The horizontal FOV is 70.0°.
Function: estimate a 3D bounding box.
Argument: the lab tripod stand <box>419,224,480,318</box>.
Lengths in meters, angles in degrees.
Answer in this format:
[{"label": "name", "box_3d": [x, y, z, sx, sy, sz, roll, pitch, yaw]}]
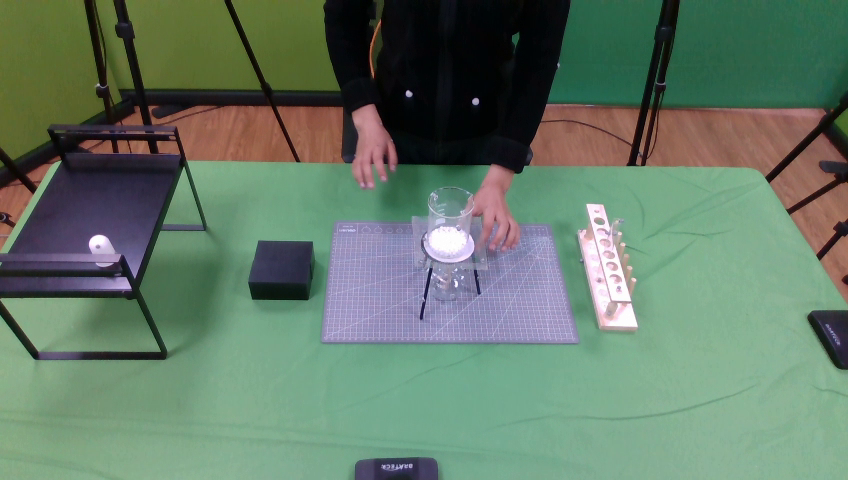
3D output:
[{"label": "lab tripod stand", "box_3d": [0.034, 0.052, 1.070, 0.148, 0.132, 0.147, 3, 48, -3]}]

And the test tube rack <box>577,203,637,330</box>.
[{"label": "test tube rack", "box_3d": [0.348, 0.045, 1.139, 0.067, 0.085, 0.241, 2, 46, -2]}]

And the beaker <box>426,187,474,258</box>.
[{"label": "beaker", "box_3d": [0.043, -0.027, 0.989, 0.084, 0.101, 0.073, -27, 53, -26]}]

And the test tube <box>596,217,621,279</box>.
[{"label": "test tube", "box_3d": [0.331, 0.018, 1.094, 0.017, 0.151, 0.017, 0, 45, 0]}]

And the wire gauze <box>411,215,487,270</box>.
[{"label": "wire gauze", "box_3d": [0.041, 0.003, 1.026, 0.125, 0.011, 0.120, 0, 46, -1]}]

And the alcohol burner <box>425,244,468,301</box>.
[{"label": "alcohol burner", "box_3d": [0.040, 0.053, 1.083, 0.078, 0.120, 0.077, 1, 47, -1]}]

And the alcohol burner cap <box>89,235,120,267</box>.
[{"label": "alcohol burner cap", "box_3d": [-0.469, 0.013, 0.885, 0.034, 0.048, 0.033, 1, 47, -1]}]
